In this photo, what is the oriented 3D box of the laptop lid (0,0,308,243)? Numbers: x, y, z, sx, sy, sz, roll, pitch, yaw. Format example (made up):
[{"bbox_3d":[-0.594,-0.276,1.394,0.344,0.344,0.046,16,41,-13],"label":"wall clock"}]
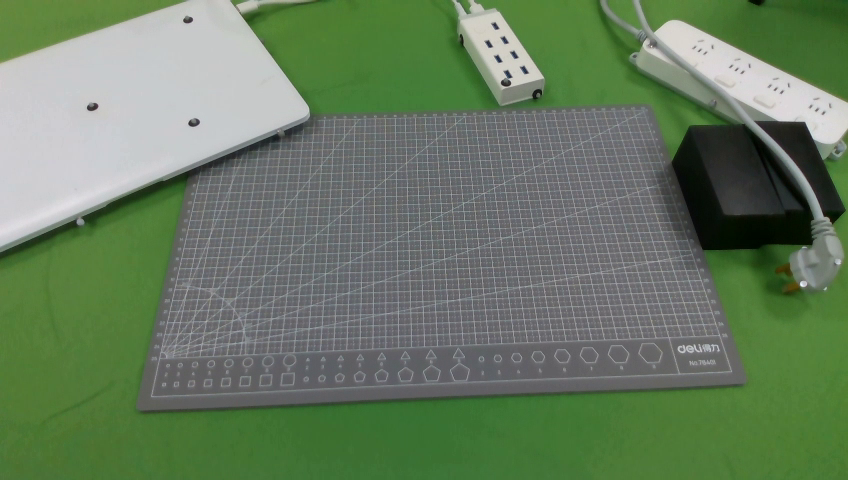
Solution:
[{"bbox_3d":[-0.318,-0.130,0.583,0.357,0.013,0.239,-26,62,-17],"label":"laptop lid"}]

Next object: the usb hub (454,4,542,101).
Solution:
[{"bbox_3d":[0.076,-0.201,0.643,0.049,0.025,0.124,-17,58,-11],"label":"usb hub"}]

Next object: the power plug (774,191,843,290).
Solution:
[{"bbox_3d":[0.308,0.005,0.489,0.035,0.053,0.072,22,59,-20],"label":"power plug"}]

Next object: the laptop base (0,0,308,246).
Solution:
[{"bbox_3d":[-0.319,-0.125,0.594,0.354,0.023,0.233,-28,64,-17],"label":"laptop base"}]

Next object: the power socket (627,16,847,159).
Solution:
[{"bbox_3d":[0.317,-0.158,0.611,0.225,0.033,0.072,38,64,23],"label":"power socket"}]
